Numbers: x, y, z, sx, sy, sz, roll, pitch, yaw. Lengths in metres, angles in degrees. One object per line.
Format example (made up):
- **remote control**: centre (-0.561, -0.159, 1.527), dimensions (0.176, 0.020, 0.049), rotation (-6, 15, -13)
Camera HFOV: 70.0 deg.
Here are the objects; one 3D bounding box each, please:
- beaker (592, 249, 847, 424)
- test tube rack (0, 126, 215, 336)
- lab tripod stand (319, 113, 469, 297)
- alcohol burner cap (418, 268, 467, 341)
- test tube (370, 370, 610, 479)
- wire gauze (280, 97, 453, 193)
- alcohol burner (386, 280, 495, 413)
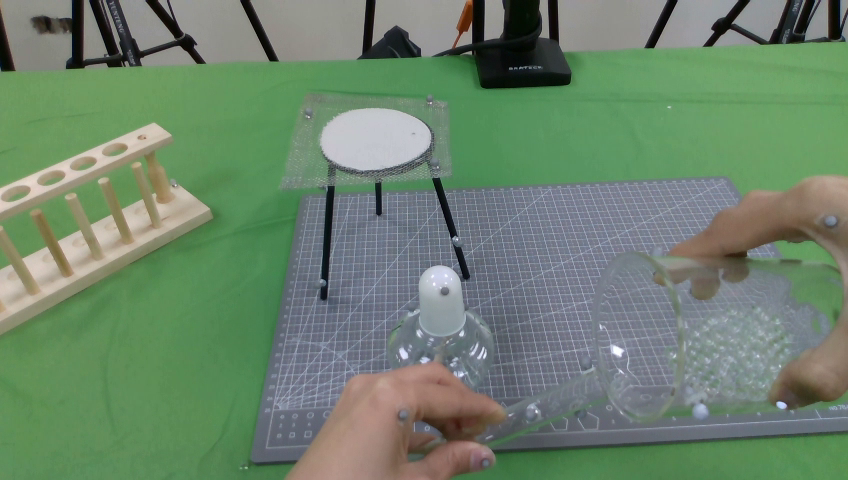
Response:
- **beaker**: centre (0.138, 0.046, 0.278), dimensions (0.100, 0.084, 0.073), rotation (1, 47, -11)
- **test tube rack**: centre (-0.318, -0.007, 0.535), dimensions (0.066, 0.086, 0.242), rotation (32, 51, 32)
- **lab tripod stand**: centre (-0.030, -0.029, 0.512), dimensions (0.148, 0.132, 0.147), rotation (1, 41, 0)
- **alcohol burner cap**: centre (0.012, 0.039, 0.396), dimensions (0.034, 0.048, 0.033), rotation (-3, 41, 3)
- **test tube**: centre (0.030, 0.106, 0.325), dimensions (0.150, 0.017, 0.017), rotation (-31, 36, 23)
- **wire gauze**: centre (-0.040, -0.077, 0.465), dimensions (0.121, 0.011, 0.124), rotation (0, 43, 0)
- **alcohol burner**: centre (0.011, 0.066, 0.420), dimensions (0.078, 0.120, 0.077), rotation (0, 43, 1)
